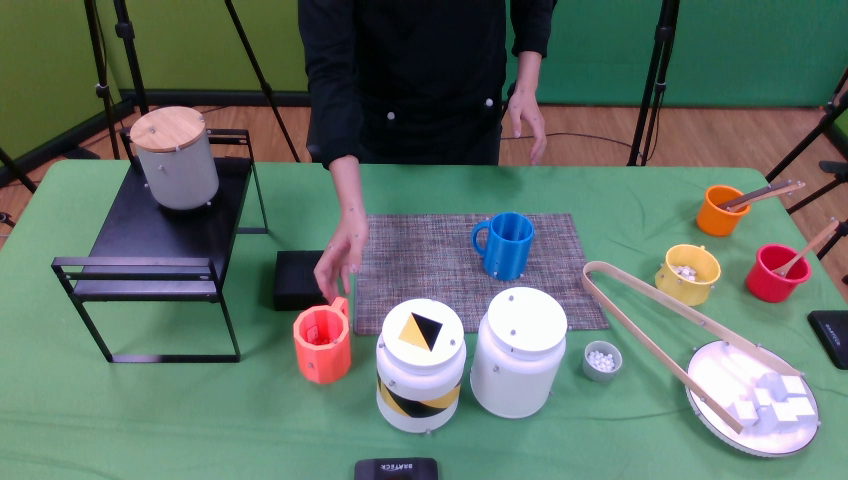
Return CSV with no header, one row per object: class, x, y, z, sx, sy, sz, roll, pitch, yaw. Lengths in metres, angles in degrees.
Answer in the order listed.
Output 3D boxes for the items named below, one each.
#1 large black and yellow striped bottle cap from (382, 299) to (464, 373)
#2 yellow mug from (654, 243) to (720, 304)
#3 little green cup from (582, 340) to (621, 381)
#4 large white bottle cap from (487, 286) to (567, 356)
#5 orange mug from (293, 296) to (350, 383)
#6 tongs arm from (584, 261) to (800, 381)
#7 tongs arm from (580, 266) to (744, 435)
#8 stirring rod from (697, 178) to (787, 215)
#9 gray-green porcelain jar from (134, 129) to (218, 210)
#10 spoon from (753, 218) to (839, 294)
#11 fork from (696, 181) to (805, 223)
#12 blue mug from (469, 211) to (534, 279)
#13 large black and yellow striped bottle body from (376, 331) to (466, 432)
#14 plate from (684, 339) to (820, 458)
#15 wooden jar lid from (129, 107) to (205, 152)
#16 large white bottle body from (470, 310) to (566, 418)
large black and yellow striped bottle cap,-0.002,0.132,0.843,0.115,0.019,0.114,2,46,-1
yellow mug,0.504,0.054,1.154,0.099,0.064,0.130,28,50,22
little green cup,0.295,0.204,1.015,0.061,0.039,0.061,2,45,-2
large white bottle cap,0.147,0.114,0.869,0.115,0.018,0.114,3,46,-3
orange mug,-0.157,0.154,0.985,0.083,0.101,0.125,17,52,11
tongs arm,0.452,0.137,1.064,0.051,0.027,0.382,-34,50,-26
tongs arm,0.384,0.173,1.029,0.028,0.028,0.385,-25,46,-14
stirring rod,0.650,-0.088,1.246,0.006,0.176,0.014,29,50,-39
gray-green porcelain jar,-0.388,-0.120,0.960,0.106,0.127,0.105,2,46,-2
spoon,0.700,0.031,1.138,0.194,0.022,0.041,-47,55,14
fork,0.659,-0.077,1.232,0.207,0.019,0.028,-26,35,34
blue mug,0.141,0.005,1.140,0.116,0.106,0.082,18,48,13
large black and yellow striped bottle body,-0.007,0.189,0.905,0.131,0.185,0.130,2,46,-2
plate,0.523,0.256,0.982,0.208,0.039,0.206,2,46,-2
wooden jar lid,-0.385,-0.163,0.915,0.108,0.021,0.107,2,47,-2
large white bottle body,0.142,0.173,0.930,0.131,0.185,0.130,2,46,-2
